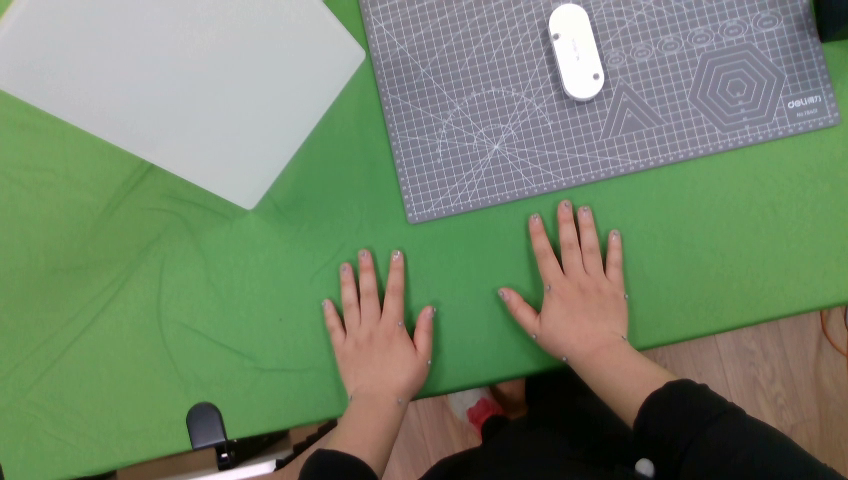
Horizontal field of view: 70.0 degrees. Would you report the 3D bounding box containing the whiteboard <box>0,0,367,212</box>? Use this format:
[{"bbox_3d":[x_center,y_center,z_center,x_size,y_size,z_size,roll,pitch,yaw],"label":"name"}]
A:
[{"bbox_3d":[-0.232,-0.194,0.565,0.142,0.308,0.217,38,92,27],"label":"whiteboard"}]

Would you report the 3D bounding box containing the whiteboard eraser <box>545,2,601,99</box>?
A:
[{"bbox_3d":[0.155,-0.198,0.631,0.041,0.019,0.101,-14,86,5],"label":"whiteboard eraser"}]
